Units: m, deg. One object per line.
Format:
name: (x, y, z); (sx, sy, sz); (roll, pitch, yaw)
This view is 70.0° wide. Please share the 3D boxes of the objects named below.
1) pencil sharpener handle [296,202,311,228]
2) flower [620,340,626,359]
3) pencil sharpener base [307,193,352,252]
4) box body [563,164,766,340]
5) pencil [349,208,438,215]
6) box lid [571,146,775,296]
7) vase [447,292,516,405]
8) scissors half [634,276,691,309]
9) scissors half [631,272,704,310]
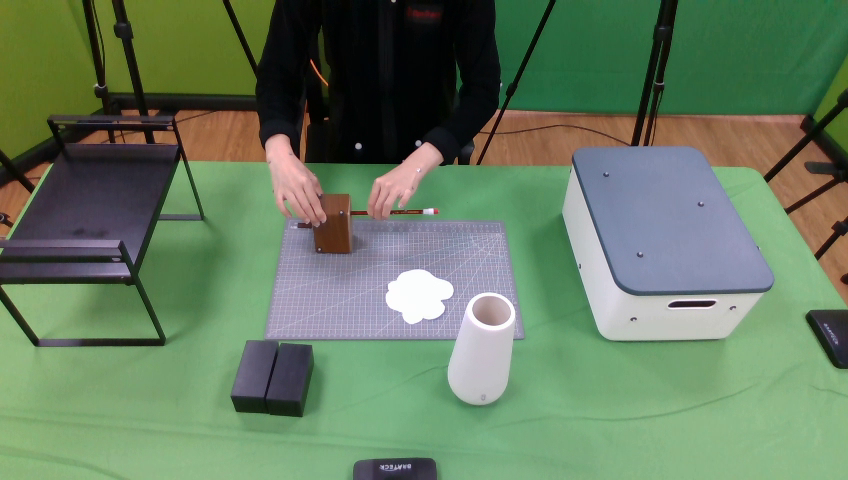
pencil sharpener handle: (-0.229, -0.044, 1.141); (0.031, 0.068, 0.036); (0, 57, -3)
flower: (0.416, 0.065, 1.186); (0.038, 0.044, 0.360); (29, 64, -20)
pencil sharpener base: (-0.178, -0.032, 1.150); (0.077, 0.107, 0.061); (0, 45, -3)
box body: (0.421, 0.003, 1.130); (0.254, 0.161, 0.361); (0, 46, -5)
pencil: (-0.070, -0.052, 1.137); (0.194, 0.012, 0.012); (-2, 47, -3)
box lid: (0.424, -0.048, 1.074); (0.263, 0.015, 0.369); (-1, 46, -4)
vase: (0.091, 0.168, 0.921); (0.098, 0.201, 0.097); (3, 47, -3)
scissors half: (0.454, 0.096, 1.144); (0.175, 0.040, 0.013); (-20, 88, -31)
scissors half: (0.460, 0.092, 1.132); (0.175, 0.040, 0.013); (-22, 83, -21)
